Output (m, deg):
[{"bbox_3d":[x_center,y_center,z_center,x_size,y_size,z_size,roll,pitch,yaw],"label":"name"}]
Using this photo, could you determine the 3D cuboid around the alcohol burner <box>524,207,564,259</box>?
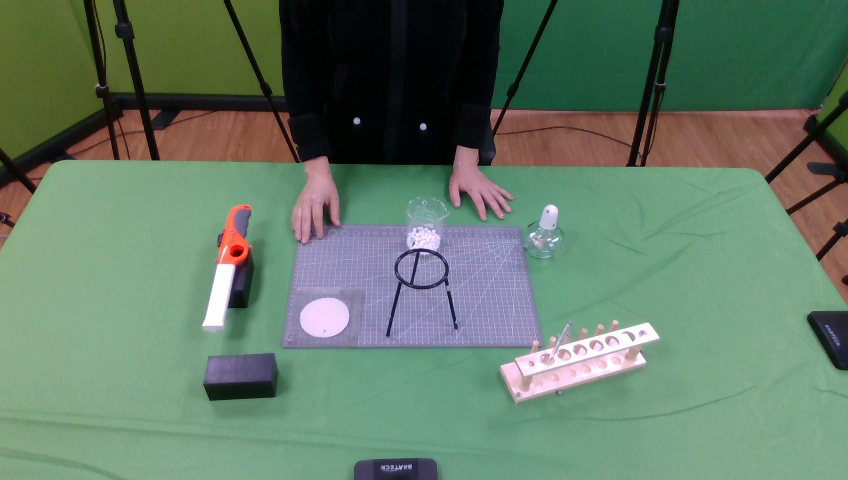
[{"bbox_3d":[0.236,-0.020,1.174,0.078,0.120,0.077,1,48,-1],"label":"alcohol burner"}]

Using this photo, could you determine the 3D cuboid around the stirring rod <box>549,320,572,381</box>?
[{"bbox_3d":[0.202,0.167,0.901,0.006,0.177,0.014,-17,54,-11],"label":"stirring rod"}]

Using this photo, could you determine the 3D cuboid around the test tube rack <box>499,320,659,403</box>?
[{"bbox_3d":[0.252,0.187,0.994,0.243,0.085,0.066,-12,48,-15],"label":"test tube rack"}]

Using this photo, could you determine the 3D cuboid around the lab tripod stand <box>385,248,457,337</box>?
[{"bbox_3d":[-0.010,0.087,1.032,0.148,0.132,0.147,1,45,-1],"label":"lab tripod stand"}]

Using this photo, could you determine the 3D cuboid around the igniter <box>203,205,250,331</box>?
[{"bbox_3d":[-0.345,0.039,1.065,0.057,0.025,0.274,2,48,-6],"label":"igniter"}]

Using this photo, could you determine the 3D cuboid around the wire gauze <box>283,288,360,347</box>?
[{"bbox_3d":[-0.178,0.132,1.063,0.125,0.011,0.120,2,46,1],"label":"wire gauze"}]

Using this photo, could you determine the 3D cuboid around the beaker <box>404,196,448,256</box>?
[{"bbox_3d":[0.001,-0.024,1.164,0.084,0.101,0.073,6,46,0],"label":"beaker"}]

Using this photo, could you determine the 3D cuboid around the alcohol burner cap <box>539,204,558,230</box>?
[{"bbox_3d":[0.239,-0.045,1.148,0.034,0.048,0.033,2,43,-1],"label":"alcohol burner cap"}]
